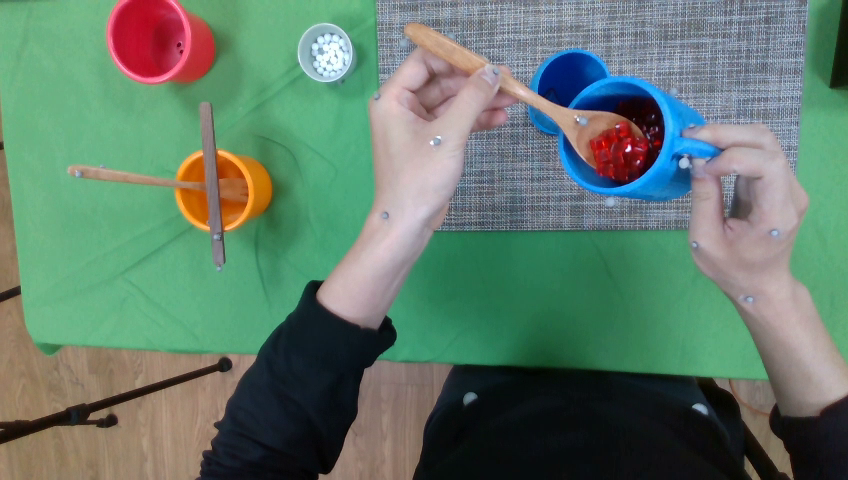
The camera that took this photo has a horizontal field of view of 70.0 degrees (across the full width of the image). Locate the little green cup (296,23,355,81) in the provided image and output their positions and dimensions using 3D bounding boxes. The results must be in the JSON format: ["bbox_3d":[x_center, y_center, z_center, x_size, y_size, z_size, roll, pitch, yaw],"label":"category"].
[{"bbox_3d":[-0.107,-0.206,0.675,0.061,0.038,0.062,1,100,8],"label":"little green cup"}]

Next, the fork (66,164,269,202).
[{"bbox_3d":[-0.272,-0.063,0.664,0.209,0.018,0.028,5,110,-37],"label":"fork"}]

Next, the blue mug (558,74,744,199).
[{"bbox_3d":[0.175,-0.071,0.451,0.115,0.106,0.082,18,102,36],"label":"blue mug"}]

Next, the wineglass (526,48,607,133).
[{"bbox_3d":[0.132,-0.138,0.582,0.073,0.172,0.074,1,99,8],"label":"wineglass"}]

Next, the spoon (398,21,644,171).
[{"bbox_3d":[0.070,-0.099,0.411,0.195,0.021,0.042,23,111,-21],"label":"spoon"}]

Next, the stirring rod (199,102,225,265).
[{"bbox_3d":[-0.230,-0.060,0.657,0.014,0.006,0.176,0,99,8],"label":"stirring rod"}]
